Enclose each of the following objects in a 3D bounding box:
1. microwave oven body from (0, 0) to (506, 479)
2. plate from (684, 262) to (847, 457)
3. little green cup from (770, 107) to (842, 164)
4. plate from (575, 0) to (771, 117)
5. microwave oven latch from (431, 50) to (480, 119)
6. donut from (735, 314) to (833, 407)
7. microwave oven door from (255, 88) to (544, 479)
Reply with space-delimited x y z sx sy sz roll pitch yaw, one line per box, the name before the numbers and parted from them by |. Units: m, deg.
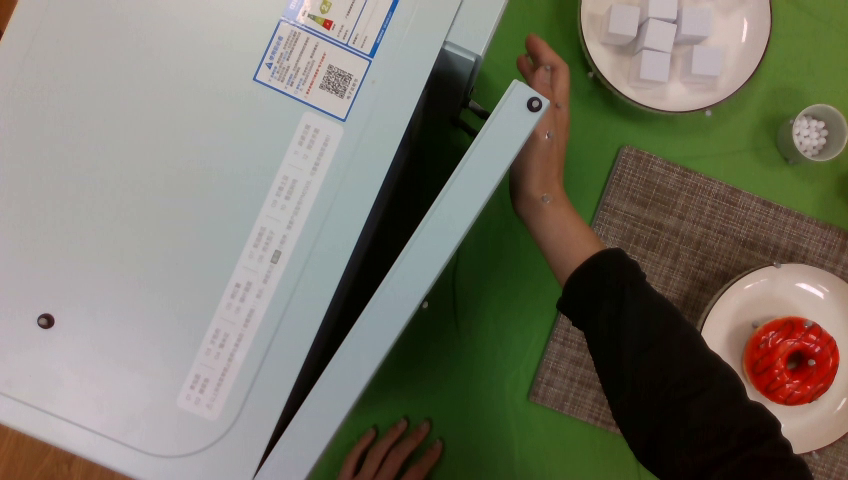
microwave oven body | -0.169 -0.065 0.524 0.326 0.260 0.441 24 90 -3
plate | 0.382 0.128 0.660 0.209 0.038 0.209 0 91 -2
little green cup | 0.414 -0.112 0.662 0.061 0.038 0.061 0 90 -2
plate | 0.263 -0.234 0.654 0.208 0.039 0.207 0 91 -2
microwave oven latch | 0.034 -0.168 0.627 0.030 0.029 0.079 26 90 -3
donut | 0.384 0.129 0.649 0.099 0.048 0.099 0 91 0
microwave oven door | -0.029 0.046 0.526 0.039 0.243 0.355 33 89 -1
